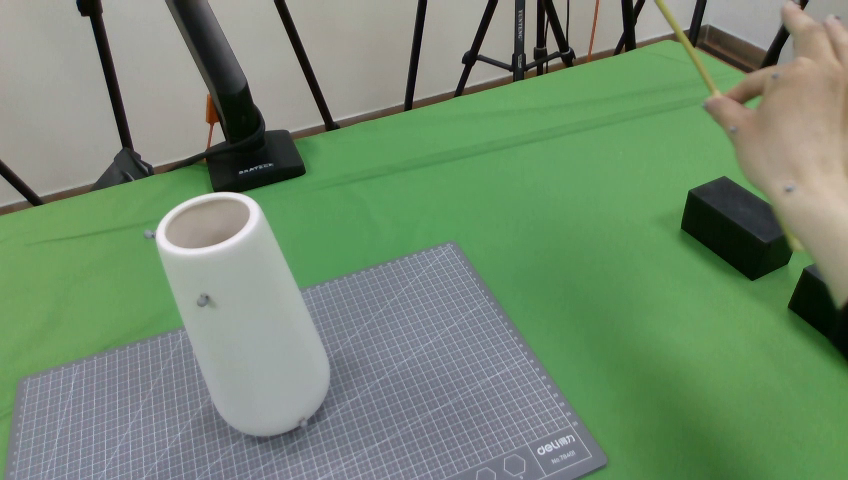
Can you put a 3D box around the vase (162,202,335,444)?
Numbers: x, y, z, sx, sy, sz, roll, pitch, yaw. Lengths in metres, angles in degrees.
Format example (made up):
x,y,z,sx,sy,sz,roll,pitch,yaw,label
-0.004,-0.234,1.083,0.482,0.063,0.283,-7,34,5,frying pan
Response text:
x,y,z,sx,sy,sz,roll,pitch,yaw,label
-0.133,0.069,0.471,0.098,0.202,0.097,-5,38,4,vase

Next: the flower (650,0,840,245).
x,y,z,sx,sy,sz,roll,pitch,yaw,label
0.222,-0.149,0.493,0.044,0.038,0.359,-14,69,-39,flower
